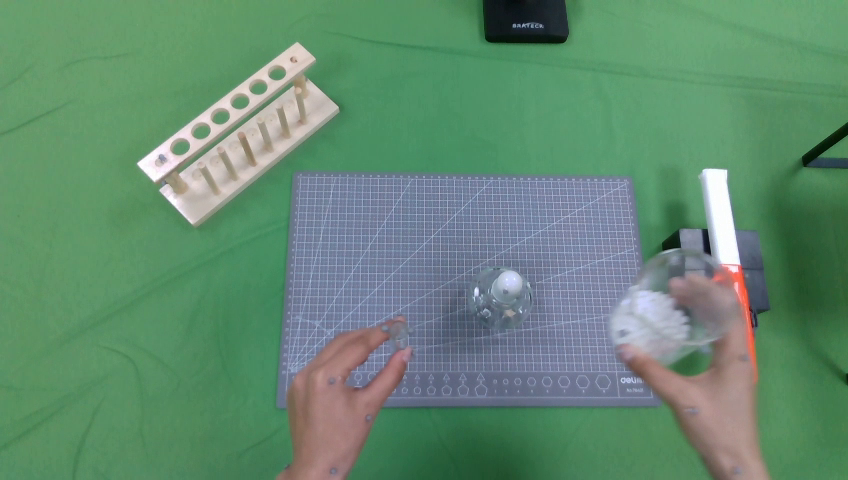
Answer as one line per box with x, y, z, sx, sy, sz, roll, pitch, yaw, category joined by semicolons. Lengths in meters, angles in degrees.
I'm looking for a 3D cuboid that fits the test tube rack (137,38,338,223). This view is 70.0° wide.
-0.222;-0.136;0.753;0.066;0.085;0.242;43;74;11;test tube rack

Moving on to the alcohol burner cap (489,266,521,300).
0.090;0.045;0.659;0.034;0.048;0.033;0;74;-1;alcohol burner cap

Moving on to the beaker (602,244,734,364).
0.187;0.058;0.489;0.084;0.101;0.073;-13;67;-4;beaker

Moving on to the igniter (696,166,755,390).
0.354;0.038;0.717;0.057;0.025;0.274;3;69;0;igniter

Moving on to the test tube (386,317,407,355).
-0.025;0.088;0.539;0.017;0.151;0.017;1;73;-3;test tube

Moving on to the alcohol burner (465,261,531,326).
0.088;0.056;0.693;0.078;0.120;0.077;2;69;-5;alcohol burner
